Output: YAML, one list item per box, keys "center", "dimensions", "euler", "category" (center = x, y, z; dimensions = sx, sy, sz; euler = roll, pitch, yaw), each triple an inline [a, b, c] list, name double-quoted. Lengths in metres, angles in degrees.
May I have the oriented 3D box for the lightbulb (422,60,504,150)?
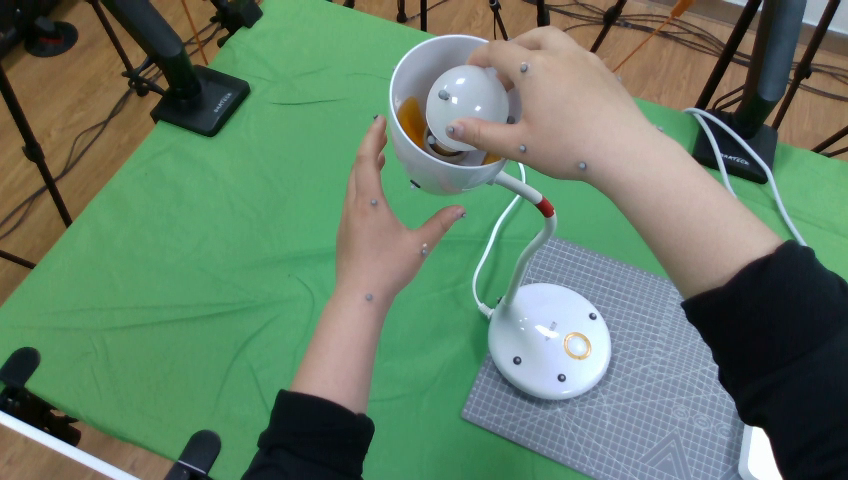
- center: [0.024, -0.095, 0.463]
  dimensions: [0.060, 0.108, 0.059]
  euler: [2, 78, -11]
  category: "lightbulb"

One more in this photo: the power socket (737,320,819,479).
- center: [0.441, 0.201, 0.751]
  dimensions: [0.072, 0.033, 0.225]
  euler: [20, 61, 9]
  category: "power socket"

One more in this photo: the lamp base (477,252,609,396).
- center: [0.149, 0.083, 0.728]
  dimensions: [0.178, 0.182, 0.159]
  euler: [15, 61, 11]
  category: "lamp base"

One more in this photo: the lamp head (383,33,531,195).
- center: [0.022, -0.085, 0.495]
  dimensions: [0.112, 0.123, 0.111]
  euler: [1, 70, -3]
  category: "lamp head"
